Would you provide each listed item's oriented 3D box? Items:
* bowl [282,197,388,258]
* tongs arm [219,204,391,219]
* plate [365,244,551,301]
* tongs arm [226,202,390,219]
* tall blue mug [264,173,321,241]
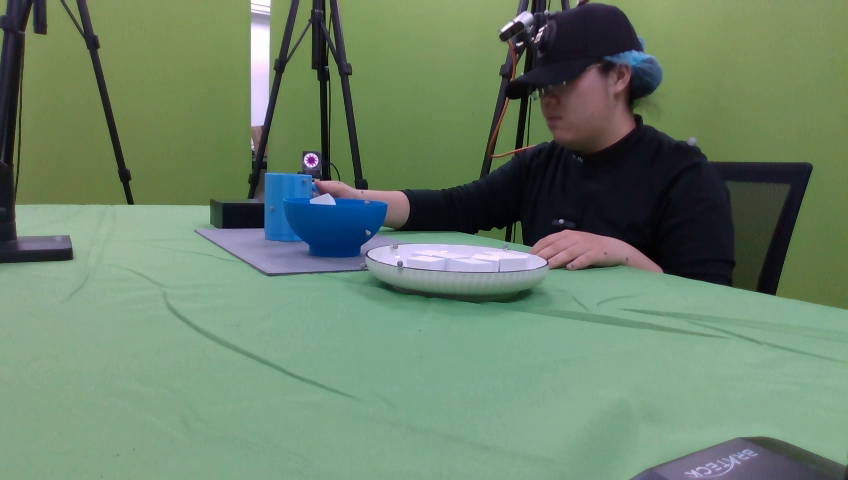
[{"bbox_3d":[-0.128,-0.018,0.869,0.151,0.077,0.151,2,8,0],"label":"bowl"},{"bbox_3d":[-0.258,-0.064,1.367,0.386,0.026,0.050,1,3,-17],"label":"tongs arm"},{"bbox_3d":[0.038,0.036,0.685,0.209,0.038,0.209,2,7,0],"label":"plate"},{"bbox_3d":[-0.275,-0.071,1.446,0.388,0.027,0.028,2,-1,-4],"label":"tongs arm"},{"bbox_3d":[-0.223,-0.058,1.019,0.078,0.108,0.107,2,7,5],"label":"tall blue mug"}]
